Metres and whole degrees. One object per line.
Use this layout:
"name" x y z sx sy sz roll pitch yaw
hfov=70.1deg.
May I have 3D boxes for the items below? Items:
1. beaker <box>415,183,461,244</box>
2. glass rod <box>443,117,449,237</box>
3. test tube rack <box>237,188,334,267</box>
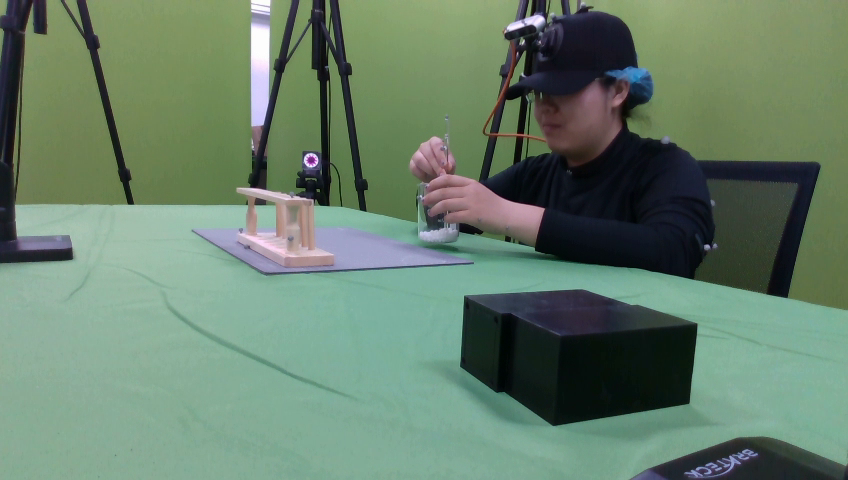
"beaker" 0.027 -0.046 1.007 0.083 0.100 0.074 4 7 39
"glass rod" 0.037 -0.104 1.008 0.008 0.199 0.008 1 3 0
"test tube rack" -0.202 -0.024 0.855 0.067 0.085 0.241 -2 8 -30
